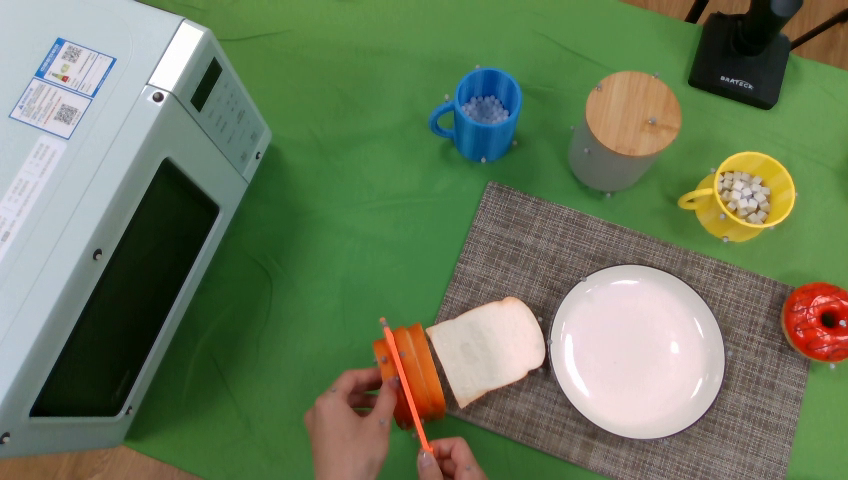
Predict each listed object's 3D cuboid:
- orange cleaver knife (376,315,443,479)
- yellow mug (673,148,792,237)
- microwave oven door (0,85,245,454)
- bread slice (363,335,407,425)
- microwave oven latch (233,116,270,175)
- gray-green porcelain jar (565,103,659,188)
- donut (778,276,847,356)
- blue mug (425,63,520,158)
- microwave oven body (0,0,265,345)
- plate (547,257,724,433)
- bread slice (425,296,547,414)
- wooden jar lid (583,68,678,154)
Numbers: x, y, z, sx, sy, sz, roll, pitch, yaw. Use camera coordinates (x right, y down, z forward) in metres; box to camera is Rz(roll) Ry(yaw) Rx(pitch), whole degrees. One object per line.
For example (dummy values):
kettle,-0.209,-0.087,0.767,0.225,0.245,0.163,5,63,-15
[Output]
orange cleaver knife,-0.012,0.177,0.620,0.012,0.077,0.211,-19,88,-11
yellow mug,0.385,-0.058,0.771,0.131,0.064,0.099,-3,75,1
microwave oven door,-0.315,0.044,0.644,0.039,0.245,0.354,20,76,6
bread slice,-0.045,0.156,0.691,0.018,0.135,0.106,-17,76,-13
microwave oven latch,-0.230,-0.127,0.792,0.030,0.029,0.079,24,78,7
gray-green porcelain jar,0.238,-0.130,0.760,0.106,0.127,0.105,0,75,1
donut,0.482,0.093,0.736,0.099,0.048,0.098,0,76,1
blue mug,0.060,-0.163,0.782,0.116,0.106,0.082,-5,75,0
microwave oven body,-0.434,-0.043,0.674,0.325,0.261,0.440,20,77,6
plate,0.251,0.126,0.735,0.208,0.039,0.206,0,76,1
bread slice,0.083,0.133,0.738,0.131,0.019,0.104,-29,85,-6
wooden jar lid,0.236,-0.147,0.700,0.108,0.021,0.107,0,73,1
